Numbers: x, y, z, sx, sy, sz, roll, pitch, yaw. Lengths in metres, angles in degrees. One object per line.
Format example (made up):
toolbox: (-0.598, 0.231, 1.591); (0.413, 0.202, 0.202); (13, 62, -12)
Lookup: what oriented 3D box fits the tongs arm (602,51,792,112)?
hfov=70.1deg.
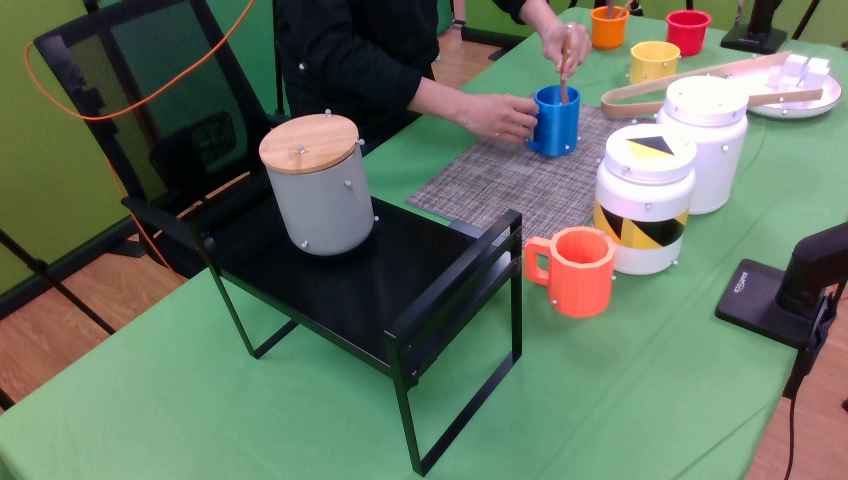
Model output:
tongs arm: (0.552, -0.320, 1.224); (0.384, 0.027, 0.050); (-10, 43, 7)

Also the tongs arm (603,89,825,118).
tongs arm: (0.546, -0.262, 1.163); (0.386, 0.028, 0.028); (-1, 49, 18)

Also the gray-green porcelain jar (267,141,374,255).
gray-green porcelain jar: (-0.117, -0.054, 0.703); (0.106, 0.127, 0.105); (-4, 40, 4)

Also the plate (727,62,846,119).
plate: (0.709, -0.292, 1.197); (0.207, 0.039, 0.206); (-4, 40, 4)

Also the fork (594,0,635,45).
fork: (0.485, -0.552, 1.447); (0.207, 0.019, 0.028); (-51, 46, 17)

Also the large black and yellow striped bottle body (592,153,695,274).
large black and yellow striped bottle body: (0.313, -0.056, 0.872); (0.131, 0.185, 0.130); (-4, 41, 4)

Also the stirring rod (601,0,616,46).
stirring rod: (0.452, -0.554, 1.464); (0.014, 0.006, 0.176); (11, 86, 15)

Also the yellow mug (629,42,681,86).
yellow mug: (0.495, -0.389, 1.321); (0.100, 0.064, 0.130); (-14, 40, -7)

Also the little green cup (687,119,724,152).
little green cup: (0.514, -0.191, 1.109); (0.061, 0.039, 0.061); (-5, 40, 5)

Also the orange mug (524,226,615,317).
orange mug: (0.201, 0.039, 0.845); (0.125, 0.101, 0.083); (18, 46, 21)

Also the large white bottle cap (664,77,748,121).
large white bottle cap: (0.421, -0.212, 0.905); (0.115, 0.018, 0.114); (-4, 40, 4)

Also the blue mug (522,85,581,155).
blue mug: (0.234, -0.218, 1.127); (0.117, 0.106, 0.081); (-22, 43, -15)

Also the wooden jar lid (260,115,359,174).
wooden jar lid: (-0.124, -0.101, 0.662); (0.108, 0.021, 0.108); (-4, 41, 4)

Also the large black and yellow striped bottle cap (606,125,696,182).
large black and yellow striped bottle cap: (0.305, -0.119, 0.816); (0.115, 0.019, 0.114); (-5, 41, 5)

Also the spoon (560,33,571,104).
spoon: (0.253, -0.280, 1.083); (0.021, 0.195, 0.041); (16, 52, 26)

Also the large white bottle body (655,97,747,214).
large white bottle body: (0.431, -0.148, 0.959); (0.130, 0.185, 0.130); (-4, 41, 4)
